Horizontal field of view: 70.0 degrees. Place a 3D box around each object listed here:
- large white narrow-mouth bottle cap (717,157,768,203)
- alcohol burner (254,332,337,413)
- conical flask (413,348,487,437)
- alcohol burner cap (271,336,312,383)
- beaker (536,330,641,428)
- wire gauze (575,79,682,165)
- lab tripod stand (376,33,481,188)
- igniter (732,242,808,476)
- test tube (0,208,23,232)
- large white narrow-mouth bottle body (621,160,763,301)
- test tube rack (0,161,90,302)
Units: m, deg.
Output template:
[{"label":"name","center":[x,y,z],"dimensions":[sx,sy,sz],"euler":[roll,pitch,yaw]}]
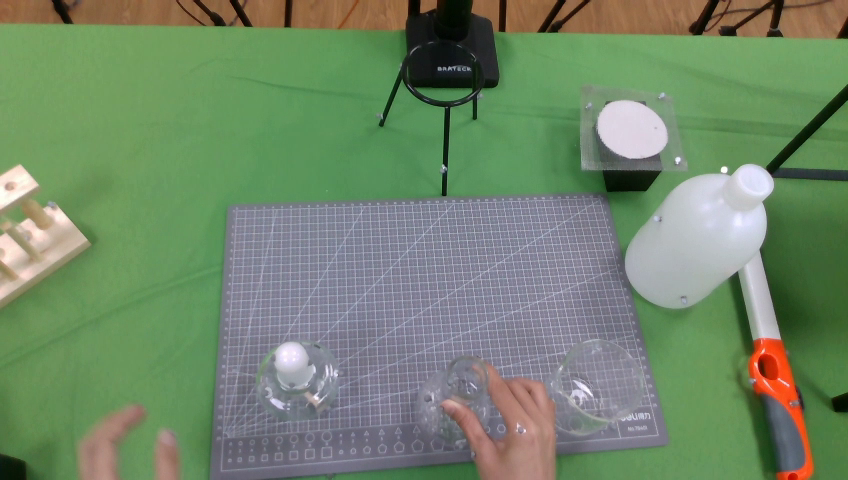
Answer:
[{"label":"large white narrow-mouth bottle cap","center":[0.285,-0.055,0.545],"dimensions":[0.038,0.024,0.037],"euler":[2,64,-3]},{"label":"alcohol burner","center":[-0.120,0.118,0.560],"dimensions":[0.078,0.120,0.077],"euler":[3,62,-6]},{"label":"conical flask","center":[0.030,0.135,0.560],"dimensions":[0.075,0.122,0.074],"euler":[2,63,-4]},{"label":"alcohol burner cap","center":[-0.117,0.102,0.528],"dimensions":[0.034,0.048,0.033],"euler":[1,58,-1]},{"label":"beaker","center":[0.150,0.139,0.583],"dimensions":[0.084,0.101,0.073],"euler":[-5,64,-7]},{"label":"wire gauze","center":[0.242,-0.141,0.728],"dimensions":[0.121,0.011,0.124],"euler":[5,63,-3]},{"label":"lab tripod stand","center":[0.014,-0.155,0.699],"dimensions":[0.148,0.132,0.147],"euler":[3,64,-6]},{"label":"igniter","center":[0.370,0.111,0.661],"dimensions":[0.057,0.025,0.274],"euler":[9,63,-13]},{"label":"test tube","center":[-0.429,-0.045,0.574],"dimensions":[0.017,0.151,0.017],"euler":[0,62,0]},{"label":"large white narrow-mouth bottle body","center":[0.280,-0.015,0.621],"dimensions":[0.102,0.196,0.101],"euler":[2,63,-3]},{"label":"test tube rack","center":[-0.468,0.035,0.587],"dimensions":[0.066,0.086,0.242],"euler":[42,68,15]}]
